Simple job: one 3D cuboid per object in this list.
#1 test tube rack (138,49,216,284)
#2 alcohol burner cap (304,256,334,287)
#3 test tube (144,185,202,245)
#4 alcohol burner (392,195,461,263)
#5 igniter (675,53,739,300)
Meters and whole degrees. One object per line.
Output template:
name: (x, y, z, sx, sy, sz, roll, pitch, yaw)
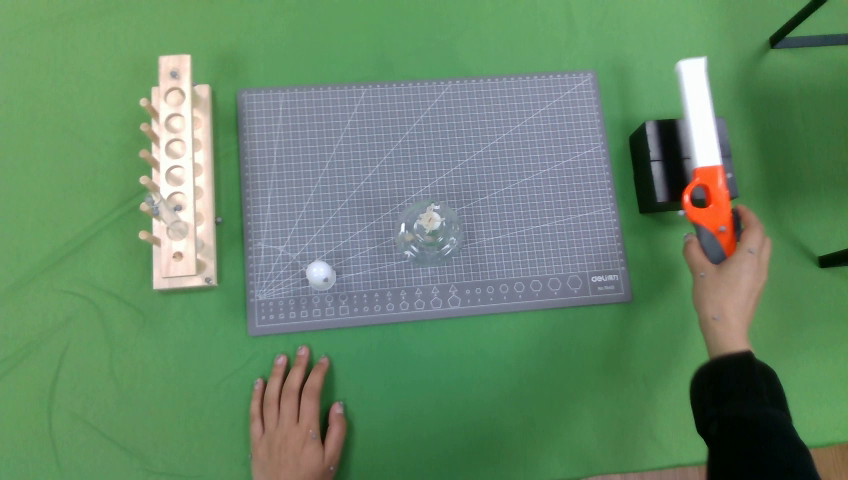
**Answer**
test tube rack: (-0.277, -0.078, 0.669, 0.067, 0.085, 0.241, -4, 80, -5)
alcohol burner cap: (-0.119, 0.033, 0.681, 0.034, 0.048, 0.033, 1, 78, -4)
test tube: (-0.249, -0.021, 0.611, 0.017, 0.151, 0.017, 2, 73, -5)
alcohol burner: (0.004, -0.016, 0.664, 0.078, 0.119, 0.077, 1, 80, -3)
igniter: (0.311, -0.072, 0.672, 0.057, 0.025, 0.275, -5, 82, 7)
